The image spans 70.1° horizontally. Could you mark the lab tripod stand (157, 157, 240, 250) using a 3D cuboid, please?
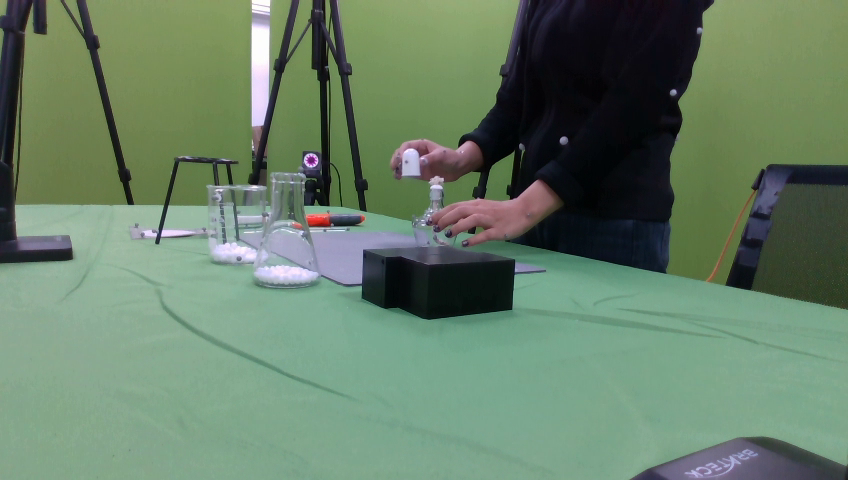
[{"bbox_3d":[-0.322,-0.057,0.905,0.148,0.131,0.148,4,7,0],"label":"lab tripod stand"}]

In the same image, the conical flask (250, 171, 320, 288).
[{"bbox_3d":[-0.150,-0.013,0.658,0.075,0.122,0.075,2,7,0],"label":"conical flask"}]

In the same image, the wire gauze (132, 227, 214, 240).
[{"bbox_3d":[-0.425,-0.013,1.018,0.122,0.011,0.124,-1,6,-28],"label":"wire gauze"}]

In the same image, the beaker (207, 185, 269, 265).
[{"bbox_3d":[-0.244,-0.021,0.784,0.083,0.100,0.074,6,8,30],"label":"beaker"}]

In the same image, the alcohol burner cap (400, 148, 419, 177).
[{"bbox_3d":[-0.025,-0.129,1.005,0.034,0.048,0.034,-2,4,0],"label":"alcohol burner cap"}]

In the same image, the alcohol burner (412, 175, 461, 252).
[{"bbox_3d":[0.019,-0.042,0.948,0.078,0.119,0.078,1,6,0],"label":"alcohol burner"}]

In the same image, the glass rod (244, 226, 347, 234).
[{"bbox_3d":[-0.240,-0.020,1.145,0.201,0.008,0.008,-3,9,-29],"label":"glass rod"}]

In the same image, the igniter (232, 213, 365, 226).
[{"bbox_3d":[-0.246,-0.042,1.223,0.278,0.025,0.057,-3,-1,-36],"label":"igniter"}]
